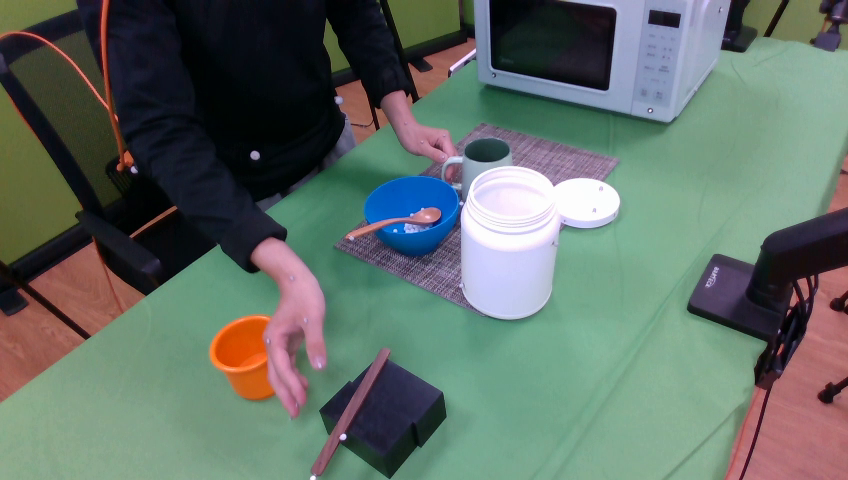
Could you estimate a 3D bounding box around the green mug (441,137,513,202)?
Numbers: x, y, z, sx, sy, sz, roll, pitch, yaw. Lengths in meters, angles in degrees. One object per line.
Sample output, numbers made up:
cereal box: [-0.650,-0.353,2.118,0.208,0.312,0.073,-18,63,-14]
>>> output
green mug: [0.091,-0.108,1.012,0.125,0.105,0.092,2,42,12]

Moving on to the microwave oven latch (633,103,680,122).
microwave oven latch: [0.444,-0.249,1.157,0.078,0.029,0.030,21,49,30]

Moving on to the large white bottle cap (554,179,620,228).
large white bottle cap: [0.265,-0.062,1.001,0.115,0.018,0.114,-3,41,3]

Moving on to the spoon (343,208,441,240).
spoon: [-0.046,-0.025,0.912,0.041,0.021,0.195,26,27,37]

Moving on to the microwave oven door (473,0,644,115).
microwave oven door: [0.257,-0.396,1.199,0.353,0.245,0.039,21,48,29]

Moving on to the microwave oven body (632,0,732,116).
microwave oven body: [0.377,-0.463,1.267,0.438,0.261,0.327,21,49,30]

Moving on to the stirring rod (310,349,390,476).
stirring rod: [-0.081,0.191,0.693,0.014,0.006,0.176,8,41,24]

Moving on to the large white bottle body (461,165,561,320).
large white bottle body: [0.115,0.004,0.816,0.130,0.185,0.130,-2,43,2]

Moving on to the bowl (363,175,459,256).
bowl: [-0.016,-0.029,0.955,0.151,0.077,0.150,-4,40,4]
